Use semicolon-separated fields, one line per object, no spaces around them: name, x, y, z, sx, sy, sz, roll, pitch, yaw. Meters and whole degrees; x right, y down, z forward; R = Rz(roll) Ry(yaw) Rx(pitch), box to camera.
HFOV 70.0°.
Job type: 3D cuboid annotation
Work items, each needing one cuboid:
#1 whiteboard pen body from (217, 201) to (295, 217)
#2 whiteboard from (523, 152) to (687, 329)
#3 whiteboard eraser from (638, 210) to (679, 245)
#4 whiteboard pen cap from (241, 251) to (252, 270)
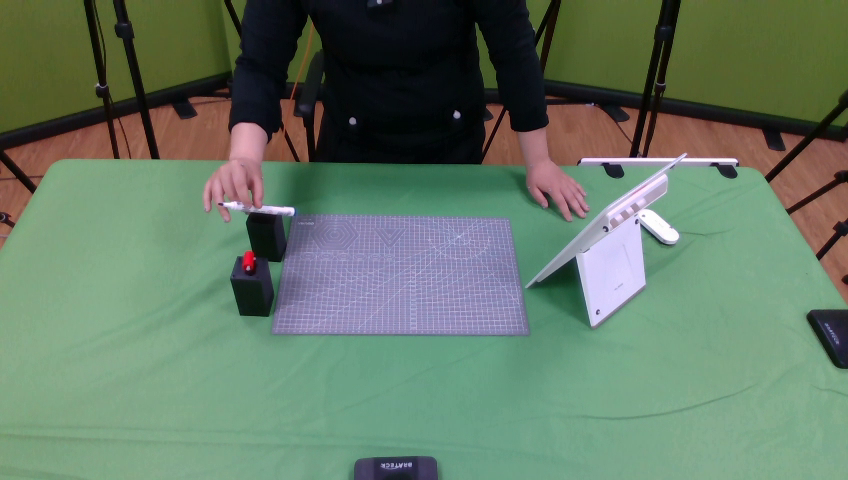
whiteboard pen body;-0.286;-0.054;1.038;0.141;0.017;0.016;6;37;-41
whiteboard;0.346;0.025;1.046;0.217;0.306;0.143;-30;74;-29
whiteboard eraser;0.485;-0.027;1.260;0.041;0.019;0.100;-21;50;-21
whiteboard pen cap;-0.294;0.033;1.005;0.017;0.017;0.032;-2;44;-7
